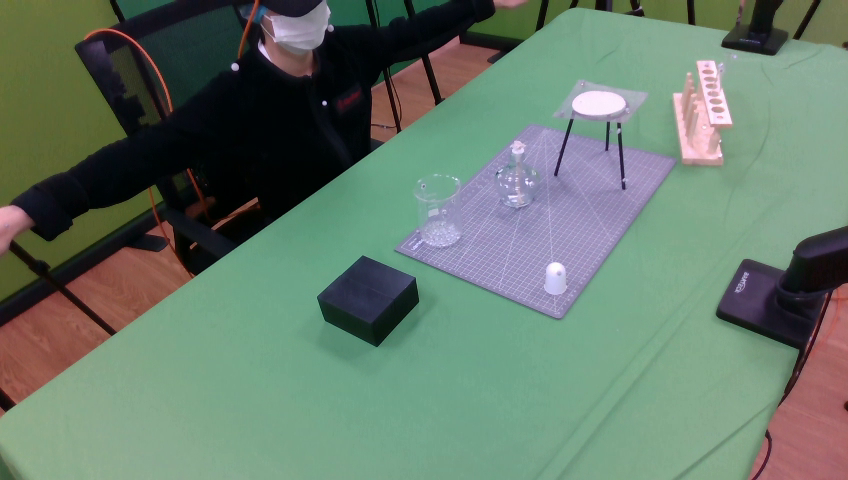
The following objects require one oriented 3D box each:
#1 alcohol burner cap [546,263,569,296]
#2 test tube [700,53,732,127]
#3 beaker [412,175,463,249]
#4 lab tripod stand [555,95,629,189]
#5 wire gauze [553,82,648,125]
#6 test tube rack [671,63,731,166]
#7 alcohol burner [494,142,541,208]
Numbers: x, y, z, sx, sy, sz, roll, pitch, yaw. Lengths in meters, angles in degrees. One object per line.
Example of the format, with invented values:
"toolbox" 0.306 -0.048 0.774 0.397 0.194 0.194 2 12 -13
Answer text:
"alcohol burner cap" 0.191 0.053 0.862 0.034 0.048 0.033 -5 40 4
"test tube" 0.521 -0.265 1.081 0.017 0.151 0.017 -3 47 3
"beaker" 0.027 -0.043 0.959 0.084 0.101 0.073 -26 43 -22
"lab tripod stand" 0.300 -0.174 1.045 0.148 0.132 0.147 -5 38 5
"wire gauze" 0.293 -0.225 1.002 0.120 0.011 0.125 17 45 27
"test tube rack" 0.513 -0.241 1.132 0.066 0.085 0.242 4 41 14
"alcohol burner" 0.157 -0.113 1.011 0.078 0.119 0.077 -3 41 3
